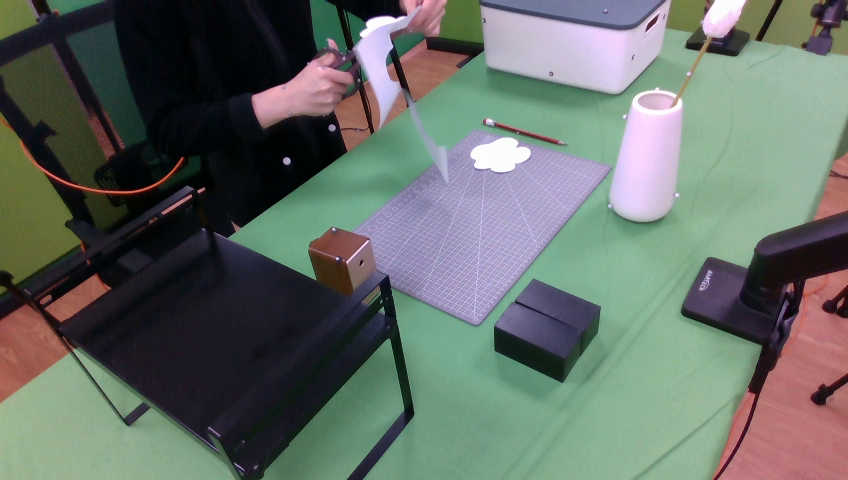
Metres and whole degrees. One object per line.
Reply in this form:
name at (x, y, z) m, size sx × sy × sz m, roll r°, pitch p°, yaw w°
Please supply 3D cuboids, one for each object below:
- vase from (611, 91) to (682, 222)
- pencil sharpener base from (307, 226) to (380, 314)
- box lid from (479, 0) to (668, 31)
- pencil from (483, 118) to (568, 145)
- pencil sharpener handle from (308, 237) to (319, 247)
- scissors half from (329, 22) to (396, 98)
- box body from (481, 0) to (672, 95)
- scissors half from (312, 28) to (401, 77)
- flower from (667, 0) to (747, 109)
vase at (0.348, -0.125, 0.935) m, size 0.098 × 0.201 × 0.097 m, roll -3°, pitch 40°, yaw 3°
pencil sharpener base at (-0.116, 0.043, 0.875) m, size 0.076 × 0.107 × 0.061 m, roll 18°, pitch 47°, yaw 27°
box lid at (0.335, -0.536, 1.331) m, size 0.368 × 0.015 × 0.264 m, roll 23°, pitch 49°, yaw 30°
pencil at (0.201, -0.217, 1.212) m, size 0.192 × 0.012 × 0.012 m, roll 24°, pitch 49°, yaw 29°
pencil sharpener handle at (-0.159, 0.017, 0.892) m, size 0.030 × 0.068 × 0.036 m, roll 18°, pitch 62°, yaw 27°
scissors half at (-0.094, -0.279, 0.943) m, size 0.040 × 0.174 × 0.013 m, roll 41°, pitch 42°, yaw -11°
box body at (0.341, -0.480, 1.381) m, size 0.361 × 0.161 × 0.255 m, roll 22°, pitch 48°, yaw 30°
scissors half at (-0.108, -0.294, 0.936) m, size 0.174 × 0.040 × 0.013 m, roll -11°, pitch 36°, yaw 29°
flower at (0.354, -0.187, 0.879) m, size 0.038 × 0.362 × 0.044 m, roll 30°, pitch 48°, yaw 14°
